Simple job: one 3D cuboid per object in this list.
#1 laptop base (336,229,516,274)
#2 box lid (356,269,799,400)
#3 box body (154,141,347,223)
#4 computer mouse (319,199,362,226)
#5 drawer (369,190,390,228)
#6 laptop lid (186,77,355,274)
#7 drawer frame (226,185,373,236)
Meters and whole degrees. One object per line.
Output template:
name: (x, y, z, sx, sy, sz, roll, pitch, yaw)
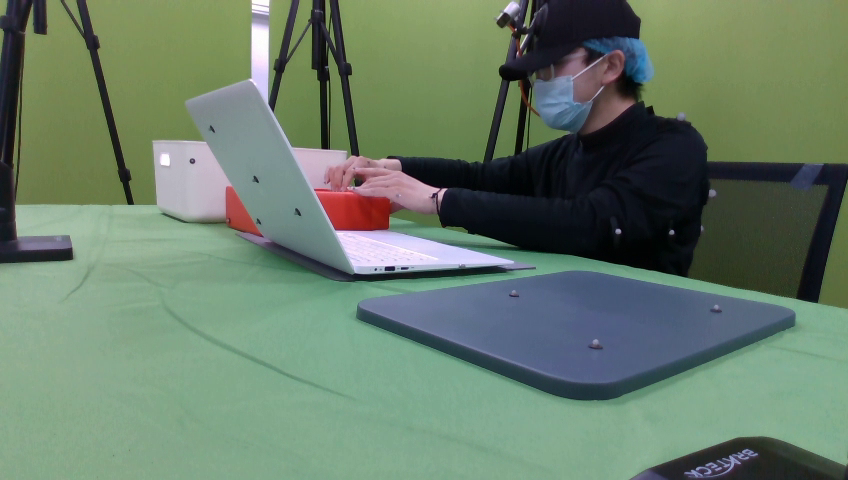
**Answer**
laptop base: (-0.065, 0.014, 0.877, 0.237, 0.023, 0.352, 2, 6, -32)
box lid: (0.152, 0.068, 0.564, 0.374, 0.015, 0.262, -4, 10, -41)
box body: (-0.384, -0.132, 1.346, 0.366, 0.160, 0.253, -3, 9, -36)
computer mouse: (-0.165, -0.055, 1.191, 0.063, 0.041, 0.116, 4, 15, -24)
drawer: (-0.201, -0.061, 1.161, 0.213, 0.073, 0.193, -4, 9, -34)
laptop lid: (-0.211, -0.081, 0.772, 0.013, 0.242, 0.355, -35, 25, -23)
drawer frame: (-0.236, -0.060, 1.137, 0.215, 0.082, 0.200, -3, 9, -36)
